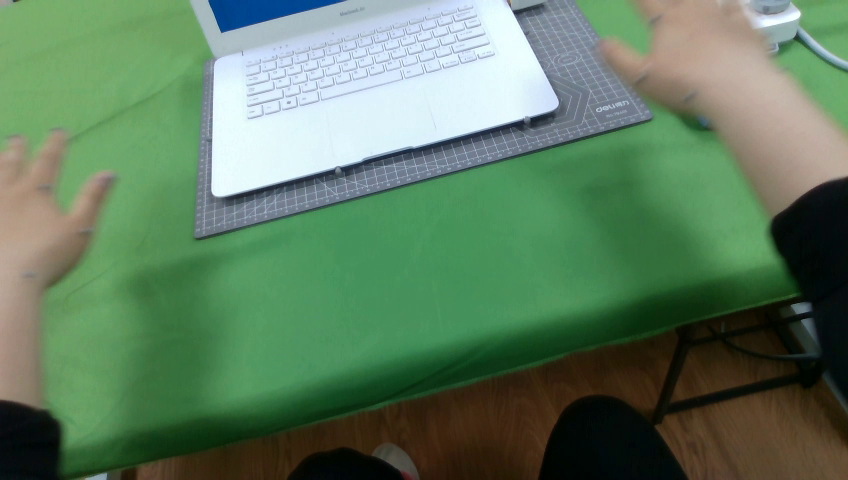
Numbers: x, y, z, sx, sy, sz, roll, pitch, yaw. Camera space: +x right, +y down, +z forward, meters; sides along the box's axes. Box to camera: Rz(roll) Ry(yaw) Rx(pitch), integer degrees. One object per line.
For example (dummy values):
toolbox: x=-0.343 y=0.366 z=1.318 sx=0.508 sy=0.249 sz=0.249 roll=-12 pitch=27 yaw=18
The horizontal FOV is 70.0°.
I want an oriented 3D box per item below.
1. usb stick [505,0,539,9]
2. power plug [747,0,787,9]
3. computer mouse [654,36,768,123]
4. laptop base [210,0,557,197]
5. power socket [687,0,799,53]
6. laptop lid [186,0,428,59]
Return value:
usb stick: x=0.108 y=-0.287 z=0.701 sx=0.059 sy=0.027 sz=0.021 roll=-16 pitch=52 yaw=4
power plug: x=0.358 y=-0.244 z=0.596 sx=0.072 sy=0.053 sz=0.035 roll=-3 pitch=54 yaw=9
computer mouse: x=0.268 y=-0.159 z=0.572 sx=0.063 sy=0.041 sz=0.116 roll=-16 pitch=46 yaw=3
laptop base: x=-0.060 y=-0.170 z=0.661 sx=0.354 sy=0.023 sz=0.233 roll=-15 pitch=54 yaw=0
power socket: x=0.322 y=-0.282 z=0.660 sx=0.072 sy=0.033 sz=0.224 roll=-12 pitch=51 yaw=3
laptop lid: x=-0.108 y=-0.348 z=0.660 sx=0.357 sy=0.244 sz=0.013 roll=-16 pitch=38 yaw=1
